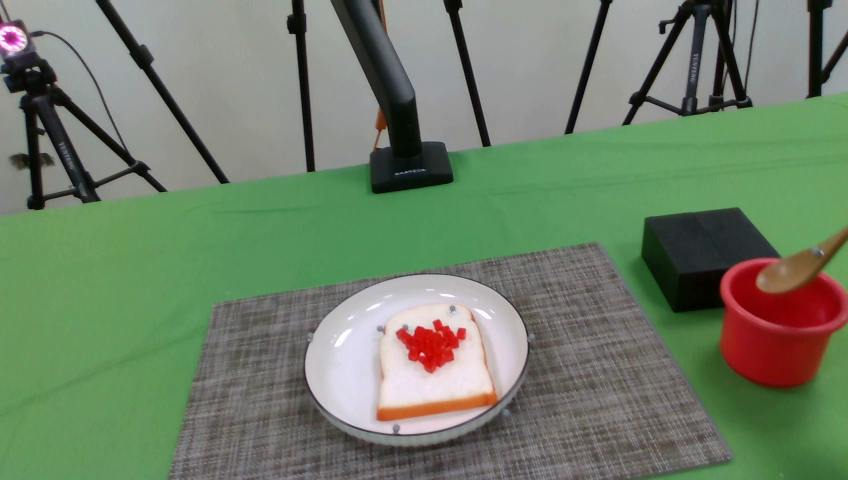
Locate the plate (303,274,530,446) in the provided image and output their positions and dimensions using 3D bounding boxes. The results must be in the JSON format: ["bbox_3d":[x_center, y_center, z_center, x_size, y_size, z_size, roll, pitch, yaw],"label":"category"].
[{"bbox_3d":[-0.007,0.109,0.566,0.209,0.038,0.207,-5,35,4],"label":"plate"}]

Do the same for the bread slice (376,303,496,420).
[{"bbox_3d":[0.006,0.108,0.568,0.105,0.019,0.130,-7,36,0],"label":"bread slice"}]

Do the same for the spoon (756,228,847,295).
[{"bbox_3d":[0.318,-0.012,0.430,0.021,0.194,0.041,34,50,2],"label":"spoon"}]
